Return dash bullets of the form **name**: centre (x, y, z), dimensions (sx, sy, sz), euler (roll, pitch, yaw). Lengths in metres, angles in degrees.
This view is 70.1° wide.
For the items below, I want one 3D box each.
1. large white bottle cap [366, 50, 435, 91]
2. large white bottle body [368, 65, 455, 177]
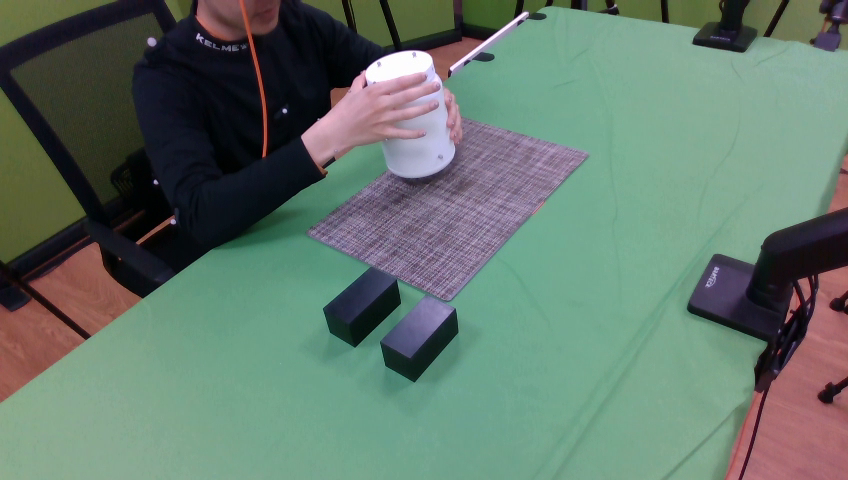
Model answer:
- **large white bottle cap**: centre (-0.040, -0.281, 0.997), dimensions (0.114, 0.018, 0.114), euler (-8, 40, 8)
- **large white bottle body**: centre (-0.023, -0.218, 1.050), dimensions (0.130, 0.185, 0.130), euler (-8, 39, 7)
